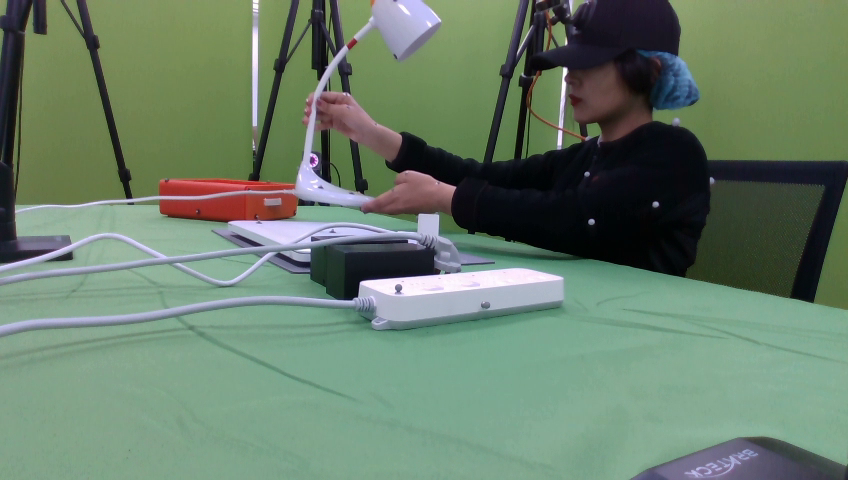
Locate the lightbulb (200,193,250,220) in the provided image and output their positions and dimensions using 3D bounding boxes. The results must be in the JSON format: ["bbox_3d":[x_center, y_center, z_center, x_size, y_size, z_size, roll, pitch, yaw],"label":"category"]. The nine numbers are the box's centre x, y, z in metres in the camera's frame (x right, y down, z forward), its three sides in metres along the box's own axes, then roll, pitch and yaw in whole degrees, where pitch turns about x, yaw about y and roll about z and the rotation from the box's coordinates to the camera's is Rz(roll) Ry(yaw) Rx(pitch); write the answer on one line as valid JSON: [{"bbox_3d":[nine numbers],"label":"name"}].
[{"bbox_3d":[-0.433,-0.079,1.319,0.108,0.059,0.059,-17,13,-16],"label":"lightbulb"}]

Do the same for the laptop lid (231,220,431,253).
[{"bbox_3d":[-0.142,-0.009,0.942,0.243,0.013,0.355,1,7,-31],"label":"laptop lid"}]

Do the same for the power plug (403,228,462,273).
[{"bbox_3d":[0.006,0.016,0.647,0.073,0.052,0.035,17,12,-6],"label":"power plug"}]

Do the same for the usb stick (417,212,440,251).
[{"bbox_3d":[0.005,-0.004,0.721,0.027,0.059,0.021,1,-3,-3],"label":"usb stick"}]

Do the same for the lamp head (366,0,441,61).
[{"bbox_3d":[-0.048,-0.418,1.150,0.123,0.112,0.112,44,5,-6],"label":"lamp head"}]

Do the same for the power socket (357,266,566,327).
[{"bbox_3d":[0.042,0.049,0.573,0.228,0.032,0.072,-3,8,-34],"label":"power socket"}]

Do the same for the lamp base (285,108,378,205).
[{"bbox_3d":[-0.175,-0.162,1.174,0.180,0.180,0.160,3,5,-11],"label":"lamp base"}]

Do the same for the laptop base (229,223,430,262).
[{"bbox_3d":[-0.145,0.002,0.943,0.237,0.023,0.352,2,6,-32],"label":"laptop base"}]

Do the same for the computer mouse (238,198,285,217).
[{"bbox_3d":[-0.354,-0.072,1.326,0.063,0.041,0.117,3,2,11],"label":"computer mouse"}]

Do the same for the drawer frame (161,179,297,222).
[{"bbox_3d":[-0.420,-0.089,1.328,0.213,0.082,0.202,4,8,18],"label":"drawer frame"}]

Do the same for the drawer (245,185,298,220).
[{"bbox_3d":[-0.416,-0.087,1.329,0.211,0.073,0.195,4,8,18],"label":"drawer"}]
